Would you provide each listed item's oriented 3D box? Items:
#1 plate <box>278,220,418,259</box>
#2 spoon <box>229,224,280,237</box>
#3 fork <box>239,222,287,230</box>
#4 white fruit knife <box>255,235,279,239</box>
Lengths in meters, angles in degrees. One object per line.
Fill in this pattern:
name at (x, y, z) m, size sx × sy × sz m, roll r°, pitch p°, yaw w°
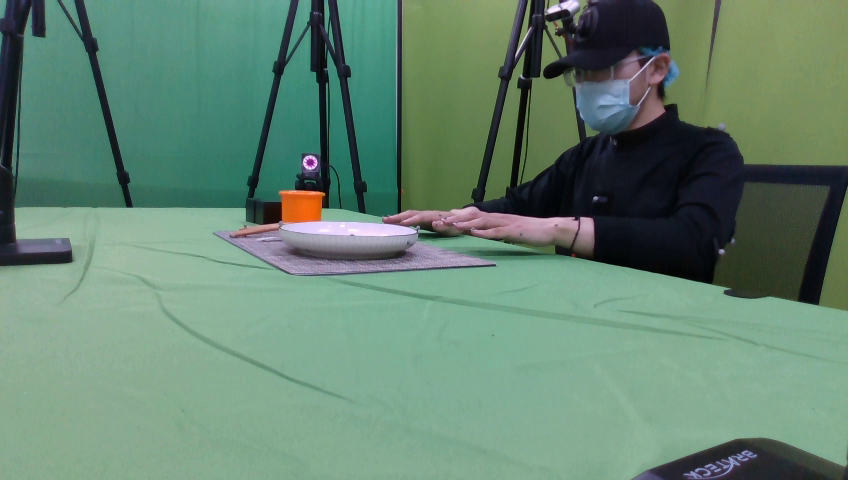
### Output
plate at (-0.114, -0.002, 0.914) m, size 0.209 × 0.038 × 0.209 m, roll 2°, pitch 7°, yaw 0°
spoon at (-0.248, -0.020, 1.071) m, size 0.195 × 0.021 × 0.041 m, roll -3°, pitch 25°, yaw -36°
fork at (-0.241, -0.025, 1.125) m, size 0.208 × 0.018 × 0.028 m, roll -1°, pitch 16°, yaw -35°
white fruit knife at (-0.197, -0.012, 1.047) m, size 0.208 × 0.016 × 0.027 m, roll -6°, pitch -2°, yaw -44°
